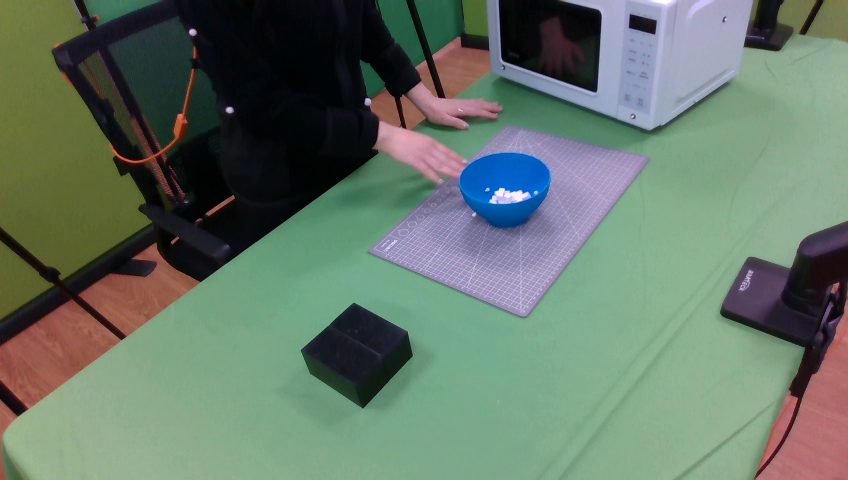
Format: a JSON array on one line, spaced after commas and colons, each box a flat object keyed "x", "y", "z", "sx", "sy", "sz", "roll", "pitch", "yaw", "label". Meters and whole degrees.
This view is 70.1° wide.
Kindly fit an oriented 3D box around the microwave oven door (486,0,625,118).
[{"x": 0.262, "y": -0.409, "z": 1.221, "sx": 0.039, "sy": 0.245, "sz": 0.352, "roll": -33, "pitch": 45, "yaw": -25, "label": "microwave oven door"}]

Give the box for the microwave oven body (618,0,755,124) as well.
[{"x": 0.402, "y": -0.458, "z": 1.259, "sx": 0.327, "sy": 0.261, "sz": 0.437, "roll": -33, "pitch": 45, "yaw": -24, "label": "microwave oven body"}]

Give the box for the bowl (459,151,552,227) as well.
[{"x": 0.136, "y": -0.074, "z": 1.000, "sx": 0.151, "sy": 0.077, "sz": 0.150, "roll": -5, "pitch": 40, "yaw": 5, "label": "bowl"}]

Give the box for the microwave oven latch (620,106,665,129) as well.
[{"x": 0.412, "y": -0.237, "z": 1.146, "sx": 0.030, "sy": 0.029, "sz": 0.078, "roll": -32, "pitch": 44, "yaw": -23, "label": "microwave oven latch"}]
